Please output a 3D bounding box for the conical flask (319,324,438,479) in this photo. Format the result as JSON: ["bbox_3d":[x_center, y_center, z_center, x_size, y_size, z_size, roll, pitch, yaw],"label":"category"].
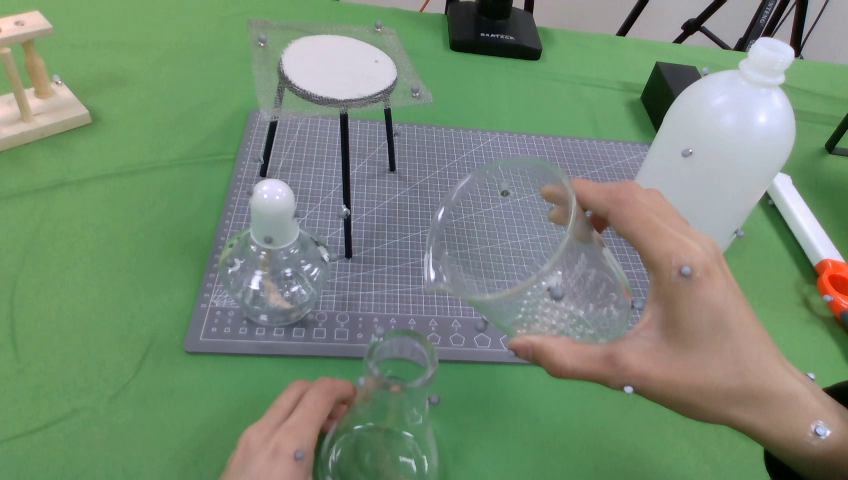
[{"bbox_3d":[-0.021,0.098,0.345,0.075,0.123,0.074,6,45,-6],"label":"conical flask"}]

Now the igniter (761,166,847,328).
[{"bbox_3d":[0.374,0.025,0.557,0.057,0.025,0.273,12,45,-14],"label":"igniter"}]

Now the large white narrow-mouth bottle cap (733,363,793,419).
[{"bbox_3d":[0.254,0.113,0.455,0.038,0.024,0.037,5,46,-5],"label":"large white narrow-mouth bottle cap"}]

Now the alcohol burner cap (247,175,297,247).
[{"bbox_3d":[-0.101,-0.021,0.397,0.034,0.048,0.033,5,52,-6],"label":"alcohol burner cap"}]

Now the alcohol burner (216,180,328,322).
[{"bbox_3d":[-0.106,0.003,0.424,0.078,0.120,0.077,7,44,-6],"label":"alcohol burner"}]

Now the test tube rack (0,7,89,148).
[{"bbox_3d":[-0.424,-0.111,0.497,0.242,0.086,0.066,-30,58,-33],"label":"test tube rack"}]

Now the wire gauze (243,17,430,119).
[{"bbox_3d":[-0.069,-0.134,0.455,0.122,0.011,0.123,-7,50,-17],"label":"wire gauze"}]

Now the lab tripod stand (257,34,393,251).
[{"bbox_3d":[-0.074,-0.086,0.502,0.149,0.132,0.147,7,46,-7],"label":"lab tripod stand"}]

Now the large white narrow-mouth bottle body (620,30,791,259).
[{"bbox_3d":[0.244,-0.081,0.513,0.102,0.196,0.101,5,46,-5],"label":"large white narrow-mouth bottle body"}]

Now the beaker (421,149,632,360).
[{"bbox_3d":[0.055,0.015,0.307,0.084,0.101,0.073,-38,46,12],"label":"beaker"}]
